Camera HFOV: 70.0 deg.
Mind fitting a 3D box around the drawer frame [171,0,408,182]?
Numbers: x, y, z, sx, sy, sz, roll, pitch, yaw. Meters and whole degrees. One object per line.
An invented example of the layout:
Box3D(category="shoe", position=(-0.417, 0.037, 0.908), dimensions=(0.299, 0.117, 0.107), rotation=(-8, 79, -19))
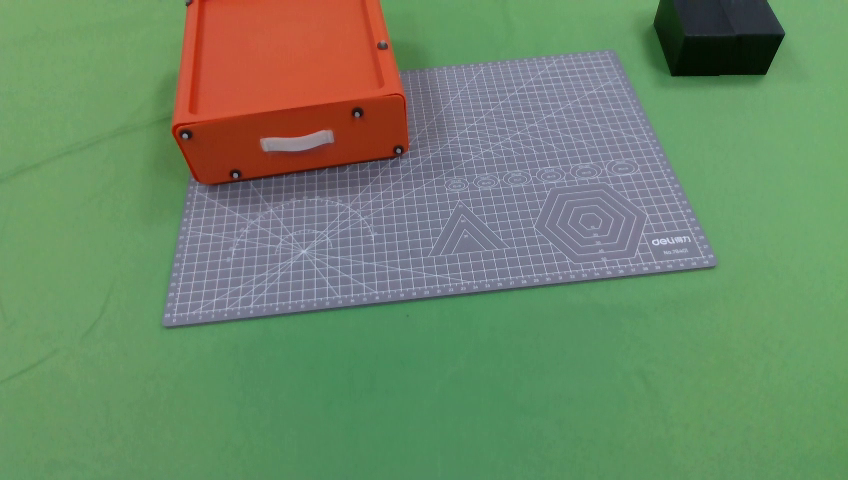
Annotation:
Box3D(category="drawer frame", position=(-0.132, -0.168, 0.603), dimensions=(0.202, 0.083, 0.211), rotation=(-10, 52, -5))

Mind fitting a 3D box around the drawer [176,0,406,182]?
Box3D(category="drawer", position=(-0.131, -0.165, 0.602), dimensions=(0.195, 0.074, 0.209), rotation=(-10, 52, -4))

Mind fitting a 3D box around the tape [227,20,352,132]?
Box3D(category="tape", position=(-0.133, -0.166, 0.610), dimensions=(0.117, 0.053, 0.115), rotation=(-1, 54, 1))
